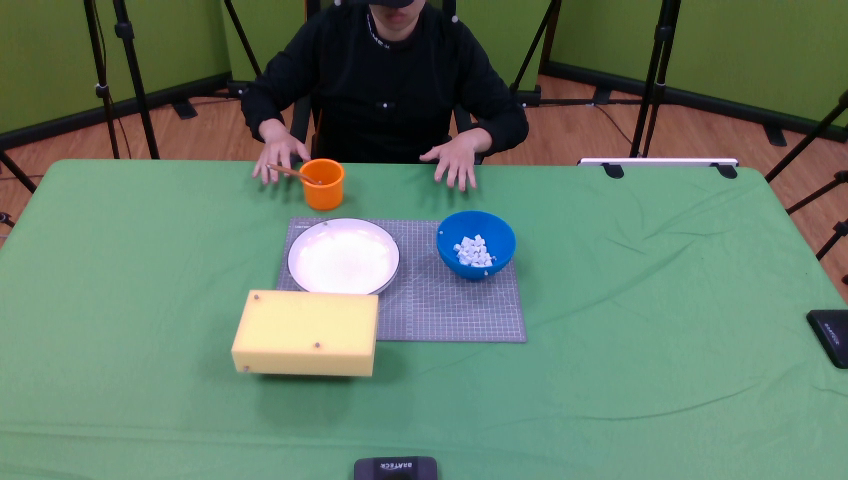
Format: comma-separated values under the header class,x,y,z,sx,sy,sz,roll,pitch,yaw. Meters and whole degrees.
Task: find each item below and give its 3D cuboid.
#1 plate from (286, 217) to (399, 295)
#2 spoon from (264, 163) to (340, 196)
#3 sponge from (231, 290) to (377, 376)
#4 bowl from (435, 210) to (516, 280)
class,x,y,z,sx,sy,sz,roll,pitch,yaw
plate,-0.150,0.041,1.131,0.209,0.038,0.208,2,45,-2
spoon,-0.241,-0.123,1.210,0.021,0.195,0.041,-48,54,13
sponge,-0.180,0.144,0.949,0.207,0.061,0.117,2,46,-2
bowl,0.093,0.022,1.141,0.151,0.077,0.150,2,46,-2
